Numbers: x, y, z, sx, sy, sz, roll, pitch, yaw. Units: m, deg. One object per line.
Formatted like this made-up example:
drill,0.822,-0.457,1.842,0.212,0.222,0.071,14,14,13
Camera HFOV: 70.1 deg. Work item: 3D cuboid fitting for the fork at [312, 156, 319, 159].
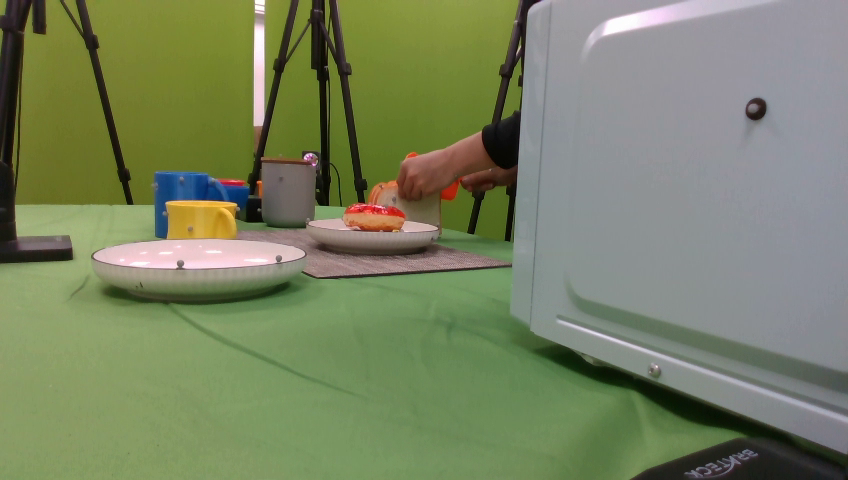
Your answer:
fork,-0.331,-0.144,1.506,0.207,0.018,0.028,-42,-20,22

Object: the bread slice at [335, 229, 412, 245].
bread slice,-0.074,-0.006,0.938,0.105,0.019,0.131,-2,4,-19

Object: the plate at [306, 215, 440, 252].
plate,-0.079,-0.011,0.950,0.209,0.038,0.209,2,8,0

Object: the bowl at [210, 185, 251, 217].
bowl,-0.408,-0.064,1.155,0.151,0.077,0.151,2,8,0

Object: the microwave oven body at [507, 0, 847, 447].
microwave oven body,0.331,-0.042,0.425,0.444,0.260,0.324,-2,8,-31

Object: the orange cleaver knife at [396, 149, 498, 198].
orange cleaver knife,0.047,-0.121,1.168,0.212,0.077,0.012,9,5,-25

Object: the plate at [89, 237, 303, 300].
plate,-0.233,0.029,0.637,0.208,0.039,0.207,2,7,0

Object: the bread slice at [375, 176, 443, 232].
bread slice,-0.027,-0.061,1.135,0.135,0.107,0.018,-8,9,-23

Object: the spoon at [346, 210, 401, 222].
spoon,-0.121,-0.060,1.400,0.042,0.021,0.192,-28,25,-37

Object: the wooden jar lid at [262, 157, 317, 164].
wooden jar lid,-0.269,-0.154,1.208,0.108,0.020,0.108,3,4,0

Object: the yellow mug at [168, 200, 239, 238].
yellow mug,-0.319,-0.023,0.904,0.130,0.064,0.100,9,11,36

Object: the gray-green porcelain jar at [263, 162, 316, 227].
gray-green porcelain jar,-0.271,-0.092,1.217,0.106,0.126,0.106,2,7,0

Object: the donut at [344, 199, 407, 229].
donut,-0.076,-0.039,0.949,0.099,0.048,0.099,3,4,0

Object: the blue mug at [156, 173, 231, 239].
blue mug,-0.381,-0.057,1.004,0.117,0.106,0.082,0,8,-12

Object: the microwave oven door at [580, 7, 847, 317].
microwave oven door,0.295,-0.067,0.570,0.358,0.243,0.039,-3,8,-31

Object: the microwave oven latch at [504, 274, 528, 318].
microwave oven latch,0.100,0.041,0.471,0.079,0.029,0.030,-1,8,-28
